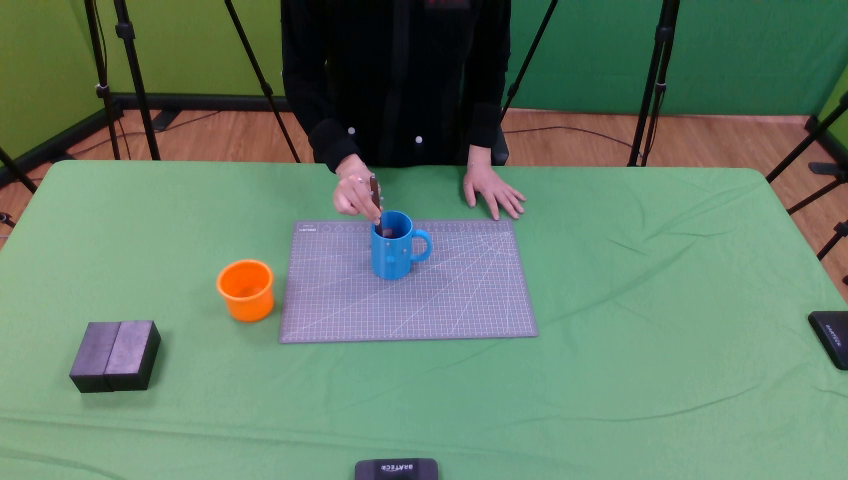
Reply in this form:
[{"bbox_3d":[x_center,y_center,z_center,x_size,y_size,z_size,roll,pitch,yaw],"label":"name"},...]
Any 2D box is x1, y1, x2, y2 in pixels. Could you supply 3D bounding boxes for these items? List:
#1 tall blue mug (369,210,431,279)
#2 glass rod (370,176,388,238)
[{"bbox_3d":[-0.049,0.005,1.125,0.107,0.108,0.077,-19,50,-21],"label":"tall blue mug"},{"bbox_3d":[-0.076,-0.038,1.069,0.008,0.201,0.008,-4,48,5],"label":"glass rod"}]
